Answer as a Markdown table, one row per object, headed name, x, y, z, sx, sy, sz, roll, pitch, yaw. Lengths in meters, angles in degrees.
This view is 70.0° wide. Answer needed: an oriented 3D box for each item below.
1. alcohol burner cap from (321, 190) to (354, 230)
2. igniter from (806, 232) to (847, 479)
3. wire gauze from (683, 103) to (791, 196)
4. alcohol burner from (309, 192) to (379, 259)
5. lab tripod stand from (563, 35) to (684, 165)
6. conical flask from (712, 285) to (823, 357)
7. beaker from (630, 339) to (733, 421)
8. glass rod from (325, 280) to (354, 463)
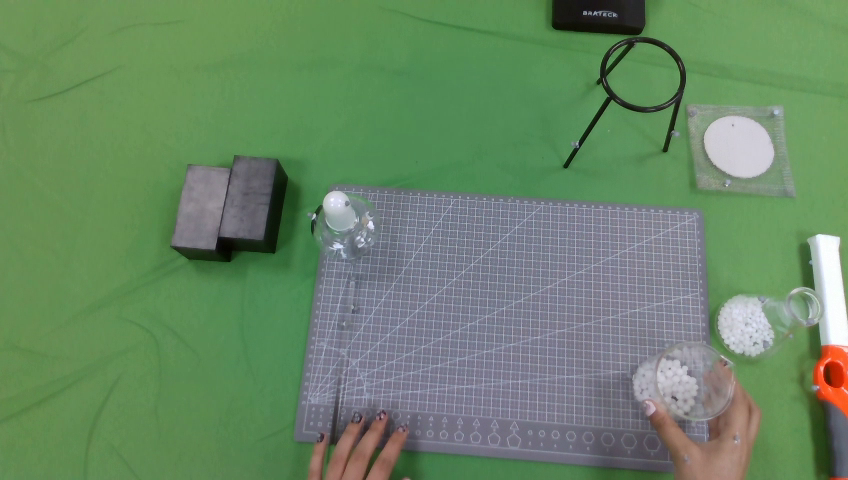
| name | x | y | z | sx | sy | sz | roll | pitch | yaw |
| --- | --- | --- | --- | --- | --- | --- | --- | --- | --- |
| alcohol burner cap | -0.092 | -0.034 | 0.631 | 0.034 | 0.048 | 0.033 | 1 | 66 | -1 |
| igniter | 0.450 | 0.125 | 0.664 | 0.057 | 0.025 | 0.275 | 8 | 73 | -9 |
| wire gauze | 0.387 | -0.115 | 0.748 | 0.125 | 0.011 | 0.121 | 3 | 73 | 0 |
| alcohol burner | -0.091 | -0.022 | 0.665 | 0.078 | 0.120 | 0.077 | -1 | 73 | 3 |
| lab tripod stand | 0.228 | -0.154 | 0.696 | 0.148 | 0.132 | 0.147 | 0 | 75 | 1 |
| conical flask | 0.361 | 0.078 | 0.630 | 0.075 | 0.122 | 0.075 | 0 | 72 | 1 |
| beaker | 0.258 | 0.144 | 0.618 | 0.084 | 0.101 | 0.073 | -21 | 73 | -3 |
| glass rod | -0.093 | 0.142 | 0.670 | 0.008 | 0.008 | 0.198 | 5 | 76 | 2 |
